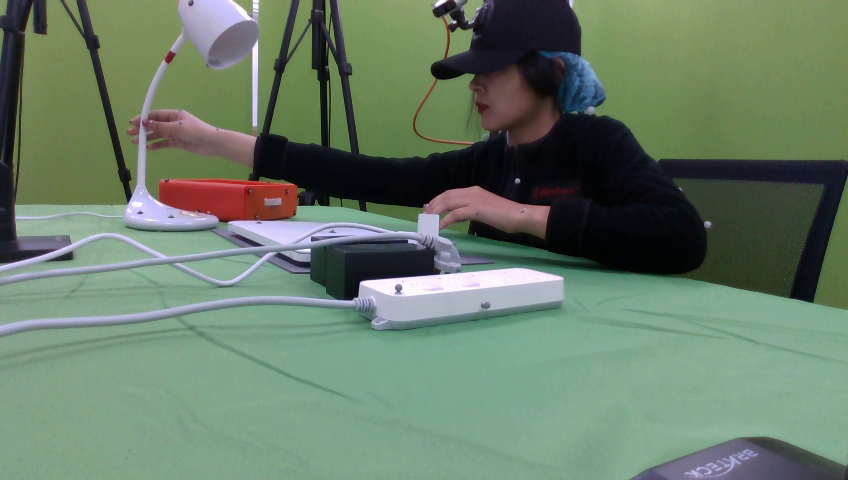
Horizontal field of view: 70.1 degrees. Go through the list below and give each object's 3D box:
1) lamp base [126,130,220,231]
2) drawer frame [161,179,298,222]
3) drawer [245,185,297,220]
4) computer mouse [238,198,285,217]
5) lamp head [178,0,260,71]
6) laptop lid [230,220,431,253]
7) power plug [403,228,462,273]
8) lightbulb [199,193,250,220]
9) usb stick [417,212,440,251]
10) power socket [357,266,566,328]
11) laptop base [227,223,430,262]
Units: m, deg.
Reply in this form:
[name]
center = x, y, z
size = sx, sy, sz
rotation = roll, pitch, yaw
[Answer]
[lamp base]
center = -0.470, -0.111, 1.105
size = 0.179, 0.180, 0.160
rotation = 1, 7, 6
[drawer frame]
center = -0.420, -0.089, 1.328
size = 0.213, 0.082, 0.202
rotation = 4, 8, 18
[drawer]
center = -0.417, -0.087, 1.329
size = 0.211, 0.073, 0.195
rotation = 4, 8, 18
[computer mouse]
center = -0.354, -0.072, 1.326
size = 0.063, 0.041, 0.117
rotation = 3, 3, 12
[lamp head]
center = -0.365, -0.368, 1.038
size = 0.123, 0.112, 0.112
rotation = 42, 14, 6
[laptop lid]
center = -0.143, -0.009, 0.942
size = 0.243, 0.013, 0.355
rotation = 1, 7, -31
[power plug]
center = 0.006, 0.016, 0.647
size = 0.073, 0.052, 0.035
rotation = 18, 12, -6
[lightbulb]
center = -0.433, -0.079, 1.319
size = 0.108, 0.059, 0.059
rotation = -17, 13, -16
[usb stick]
center = 0.005, -0.003, 0.721
size = 0.027, 0.059, 0.021
rotation = 0, -4, -2
[power socket]
center = 0.041, 0.049, 0.572
size = 0.228, 0.032, 0.072
rotation = -3, 8, -34
[laptop base]
center = -0.145, 0.002, 0.943
size = 0.237, 0.023, 0.352
rotation = 2, 6, -32
